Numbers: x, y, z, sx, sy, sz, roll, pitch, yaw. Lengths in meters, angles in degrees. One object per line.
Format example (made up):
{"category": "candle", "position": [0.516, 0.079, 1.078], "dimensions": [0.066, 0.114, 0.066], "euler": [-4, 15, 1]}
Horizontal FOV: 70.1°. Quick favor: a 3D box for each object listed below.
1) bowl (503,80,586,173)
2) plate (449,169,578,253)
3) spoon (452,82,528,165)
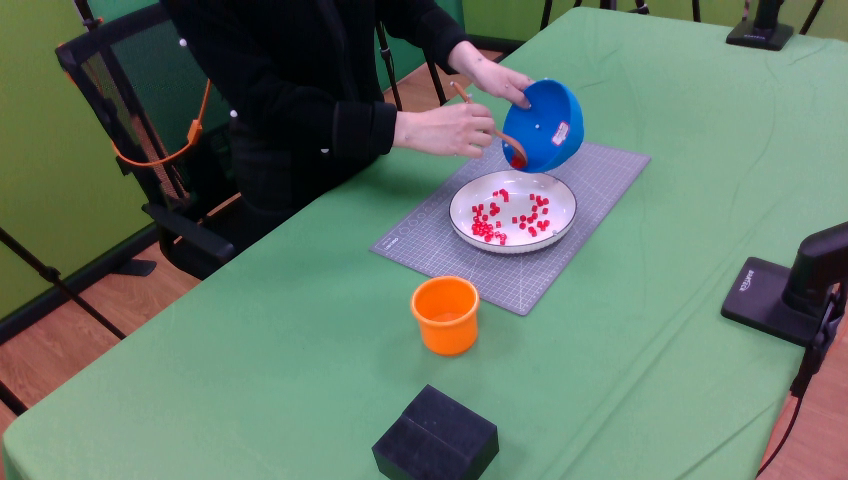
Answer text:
{"category": "bowl", "position": [0.207, -0.175, 0.979], "dimensions": [0.077, 0.151, 0.150], "euler": [10, 28, -36]}
{"category": "plate", "position": [0.146, -0.044, 0.993], "dimensions": [0.209, 0.038, 0.208], "euler": [-5, 40, 5]}
{"category": "spoon", "position": [0.106, -0.177, 0.935], "dimensions": [0.021, 0.195, 0.041], "euler": [-47, 35, 12]}
